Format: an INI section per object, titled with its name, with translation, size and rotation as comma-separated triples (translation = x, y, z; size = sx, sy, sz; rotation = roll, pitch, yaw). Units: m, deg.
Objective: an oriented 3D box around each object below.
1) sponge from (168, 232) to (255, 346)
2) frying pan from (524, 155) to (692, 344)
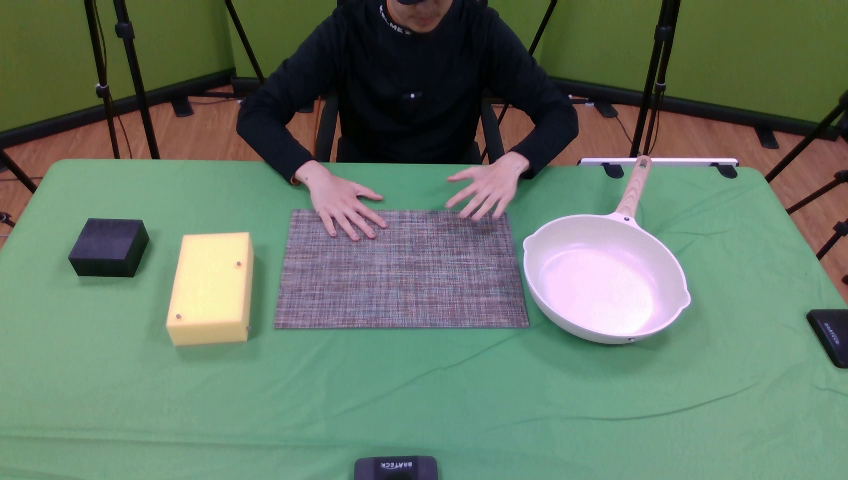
[sponge]
translation = -0.368, 0.081, 1.065
size = 0.118, 0.061, 0.205
rotation = -4, 46, -7
[frying pan]
translation = 0.372, -0.002, 1.167
size = 0.306, 0.103, 0.486
rotation = 22, 57, 16
